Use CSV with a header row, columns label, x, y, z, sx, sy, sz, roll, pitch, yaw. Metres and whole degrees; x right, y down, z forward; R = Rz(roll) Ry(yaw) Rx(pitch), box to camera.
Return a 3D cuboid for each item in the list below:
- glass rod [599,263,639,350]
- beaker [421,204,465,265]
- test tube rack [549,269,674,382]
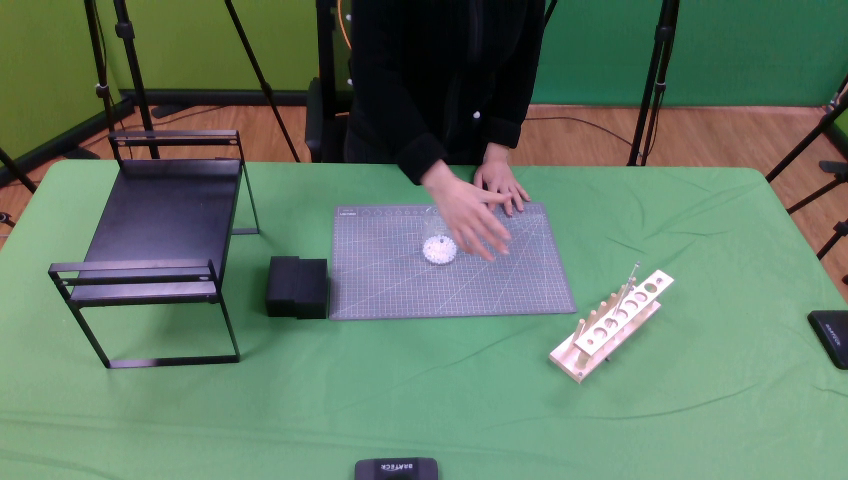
label,x,y,z,sx,sy,sz,roll,pitch,yaw
glass rod,0.311,0.112,0.976,0.008,0.200,0.008,4,40,-3
beaker,0.034,-0.008,1.151,0.084,0.101,0.073,-9,48,-13
test tube rack,0.325,0.134,1.047,0.242,0.085,0.066,-32,56,-30
